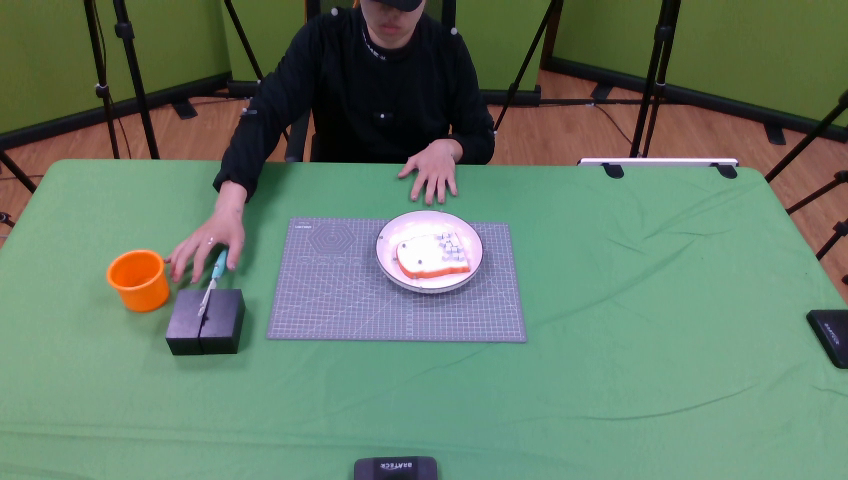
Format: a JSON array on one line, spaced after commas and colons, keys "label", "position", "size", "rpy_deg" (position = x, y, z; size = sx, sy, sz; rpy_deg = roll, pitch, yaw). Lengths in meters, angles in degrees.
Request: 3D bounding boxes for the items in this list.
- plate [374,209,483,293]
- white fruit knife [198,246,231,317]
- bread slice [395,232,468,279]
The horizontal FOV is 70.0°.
[{"label": "plate", "position": [0.009, 0.024, 1.160], "size": [0.209, 0.038, 0.208], "rpy_deg": [2, 46, -2]}, {"label": "white fruit knife", "position": [-0.367, 0.069, 1.063], "size": [0.016, 0.027, 0.206], "rpy_deg": [0, 32, -4]}, {"label": "bread slice", "position": [0.011, 0.030, 1.158], "size": [0.132, 0.019, 0.104], "rpy_deg": [-8, 47, -14]}]
